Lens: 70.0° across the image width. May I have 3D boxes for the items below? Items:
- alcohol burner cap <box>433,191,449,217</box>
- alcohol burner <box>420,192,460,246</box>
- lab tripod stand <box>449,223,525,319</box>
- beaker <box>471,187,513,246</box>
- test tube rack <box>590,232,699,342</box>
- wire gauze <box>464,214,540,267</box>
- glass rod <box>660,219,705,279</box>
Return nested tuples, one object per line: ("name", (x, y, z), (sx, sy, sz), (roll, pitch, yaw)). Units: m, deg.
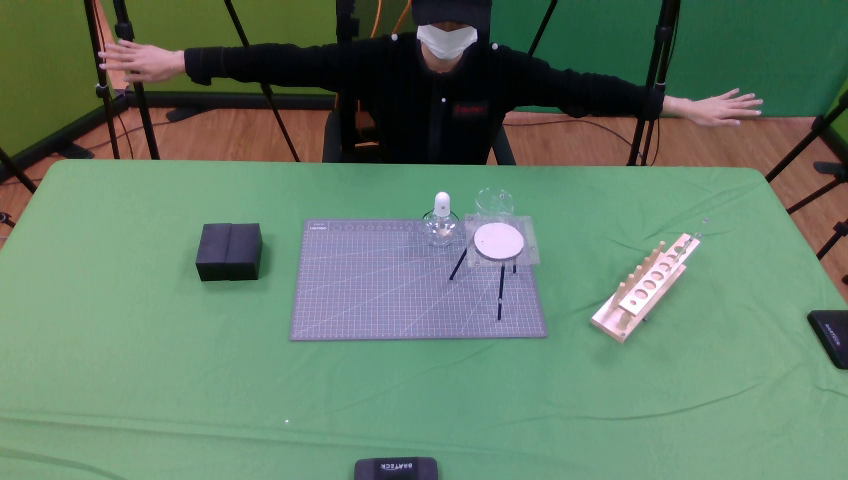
("alcohol burner cap", (0.033, -0.070, 1.150), (0.034, 0.048, 0.033), (0, 44, 0))
("alcohol burner", (0.032, -0.046, 1.176), (0.078, 0.120, 0.077), (2, 44, -1))
("lab tripod stand", (0.120, 0.046, 1.080), (0.148, 0.132, 0.147), (1, 47, -1))
("beaker", (0.134, -0.042, 1.190), (0.083, 0.101, 0.074), (34, 53, 25))
("test tube rack", (0.407, 0.074, 1.112), (0.066, 0.085, 0.242), (35, 53, 26))
("wire gauze", (0.131, -0.002, 1.034), (0.121, 0.011, 0.124), (1, 45, -2))
("glass rod", (0.444, 0.032, 1.063), (0.008, 0.200, 0.008), (5, 49, -6))
